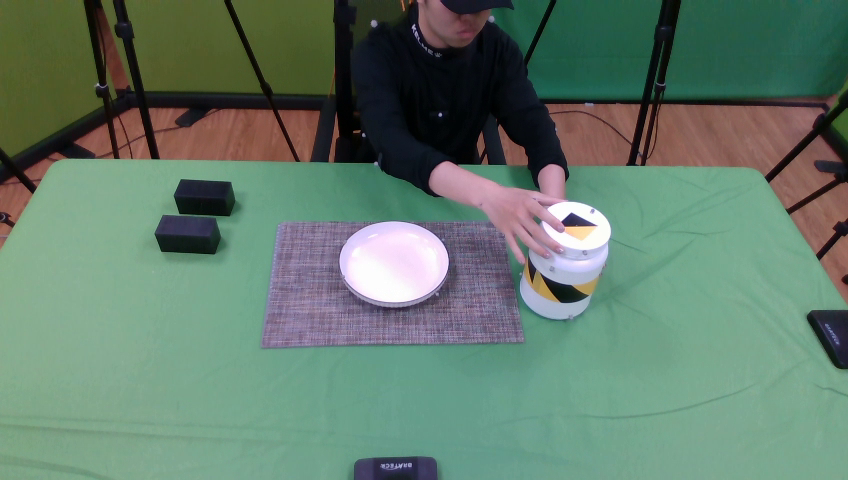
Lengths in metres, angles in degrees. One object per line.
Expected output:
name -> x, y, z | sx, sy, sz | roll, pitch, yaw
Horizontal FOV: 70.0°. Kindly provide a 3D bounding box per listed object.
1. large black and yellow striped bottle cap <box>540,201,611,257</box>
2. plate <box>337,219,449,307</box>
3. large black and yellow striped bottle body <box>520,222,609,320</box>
large black and yellow striped bottle cap -> 0.251, -0.021, 1.004 | 0.115, 0.019, 0.114 | 2, 47, -2
plate -> -0.057, 0.045, 1.133 | 0.208, 0.039, 0.206 | 2, 46, -2
large black and yellow striped bottle body -> 0.247, 0.038, 1.065 | 0.131, 0.185, 0.130 | 2, 46, -2
